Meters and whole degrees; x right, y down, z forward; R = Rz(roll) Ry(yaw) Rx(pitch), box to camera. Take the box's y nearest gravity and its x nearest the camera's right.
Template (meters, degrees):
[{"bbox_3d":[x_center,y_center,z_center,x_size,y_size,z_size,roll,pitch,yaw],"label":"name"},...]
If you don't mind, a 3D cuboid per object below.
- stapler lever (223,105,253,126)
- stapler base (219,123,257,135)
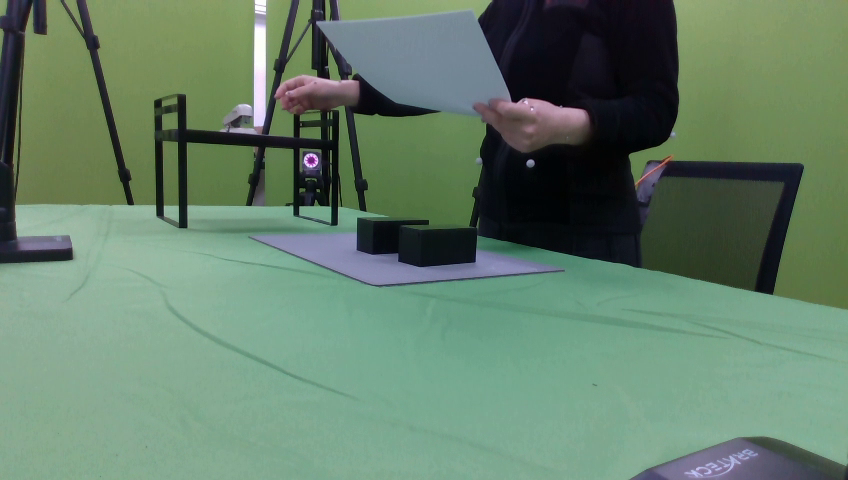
[{"bbox_3d":[-0.375,-0.250,1.219,0.027,0.040,0.117,1,6,-36],"label":"stapler lever"},{"bbox_3d":[-0.375,-0.225,1.221,0.041,0.024,0.130,1,5,-36],"label":"stapler base"}]
